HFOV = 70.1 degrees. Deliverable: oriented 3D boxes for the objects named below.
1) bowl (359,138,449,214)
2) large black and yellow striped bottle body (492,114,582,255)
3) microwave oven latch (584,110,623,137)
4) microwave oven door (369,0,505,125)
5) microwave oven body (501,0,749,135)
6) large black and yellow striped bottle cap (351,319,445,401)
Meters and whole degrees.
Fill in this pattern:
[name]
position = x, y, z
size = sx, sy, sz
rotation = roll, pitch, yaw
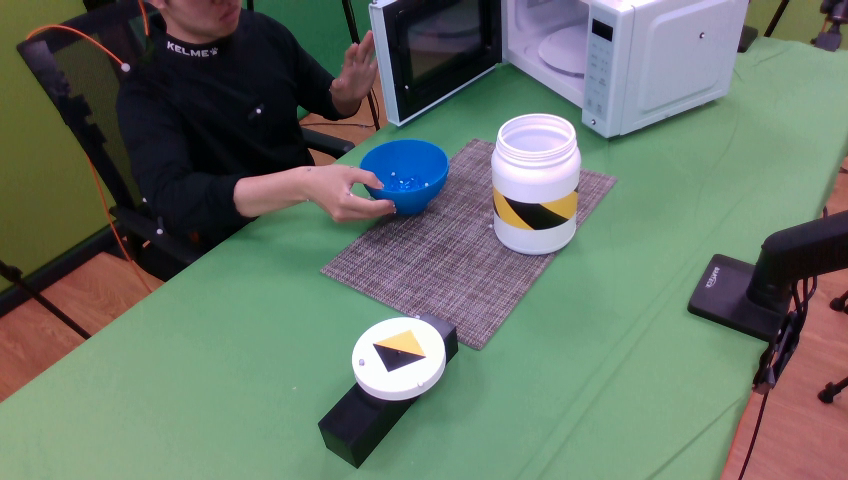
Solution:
[bowl]
position = -0.030, -0.097, 1.016
size = 0.151, 0.077, 0.150
rotation = -3, 43, 3
[large black and yellow striped bottle body]
position = 0.169, -0.083, 0.912
size = 0.131, 0.185, 0.130
rotation = -4, 41, 4
[microwave oven latch]
position = 0.337, -0.222, 1.142
size = 0.030, 0.029, 0.078
rotation = -21, 42, -14
[microwave oven door]
position = 0.042, -0.425, 1.263
size = 0.039, 0.245, 0.357
rotation = 29, 52, 34
[microwave oven body]
position = 0.382, -0.444, 1.246
size = 0.327, 0.261, 0.437
rotation = -22, 42, -16
[large black and yellow striped bottle cap]
position = -0.031, 0.143, 0.735
size = 0.115, 0.019, 0.114
rotation = -3, 40, 3
